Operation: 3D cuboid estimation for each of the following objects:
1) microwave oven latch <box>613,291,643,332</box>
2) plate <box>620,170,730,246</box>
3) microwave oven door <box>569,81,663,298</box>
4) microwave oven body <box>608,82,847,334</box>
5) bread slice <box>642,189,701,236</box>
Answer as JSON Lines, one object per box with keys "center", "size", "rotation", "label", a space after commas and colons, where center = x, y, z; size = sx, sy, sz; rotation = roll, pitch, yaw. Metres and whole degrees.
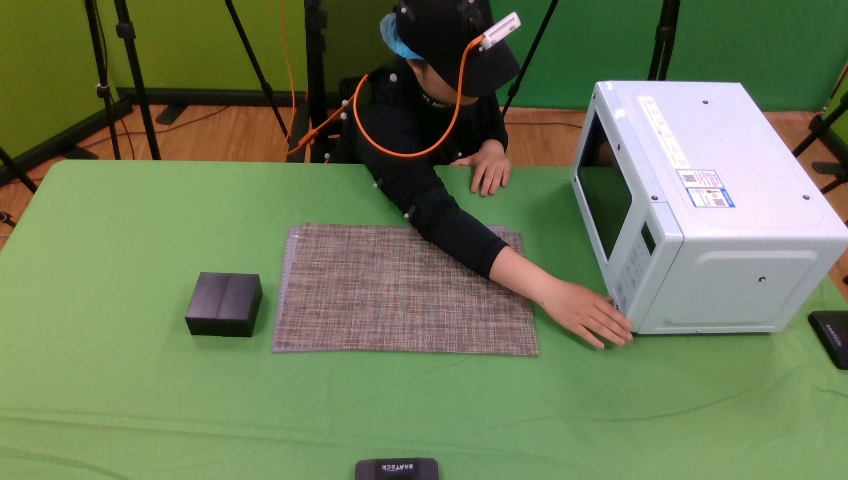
{"center": [0.357, 0.125, 1.068], "size": [0.030, 0.029, 0.078], "rotation": [1, 45, -2], "label": "microwave oven latch"}
{"center": [0.490, -0.059, 1.194], "size": [0.209, 0.038, 0.208], "rotation": [3, 46, -3], "label": "plate"}
{"center": [0.353, -0.103, 1.147], "size": [0.039, 0.245, 0.353], "rotation": [0, 46, -4], "label": "microwave oven door"}
{"center": [0.501, -0.069, 1.132], "size": [0.326, 0.261, 0.438], "rotation": [-1, 45, -4], "label": "microwave oven body"}
{"center": [0.494, -0.056, 1.197], "size": [0.105, 0.019, 0.131], "rotation": [6, 41, 4], "label": "bread slice"}
